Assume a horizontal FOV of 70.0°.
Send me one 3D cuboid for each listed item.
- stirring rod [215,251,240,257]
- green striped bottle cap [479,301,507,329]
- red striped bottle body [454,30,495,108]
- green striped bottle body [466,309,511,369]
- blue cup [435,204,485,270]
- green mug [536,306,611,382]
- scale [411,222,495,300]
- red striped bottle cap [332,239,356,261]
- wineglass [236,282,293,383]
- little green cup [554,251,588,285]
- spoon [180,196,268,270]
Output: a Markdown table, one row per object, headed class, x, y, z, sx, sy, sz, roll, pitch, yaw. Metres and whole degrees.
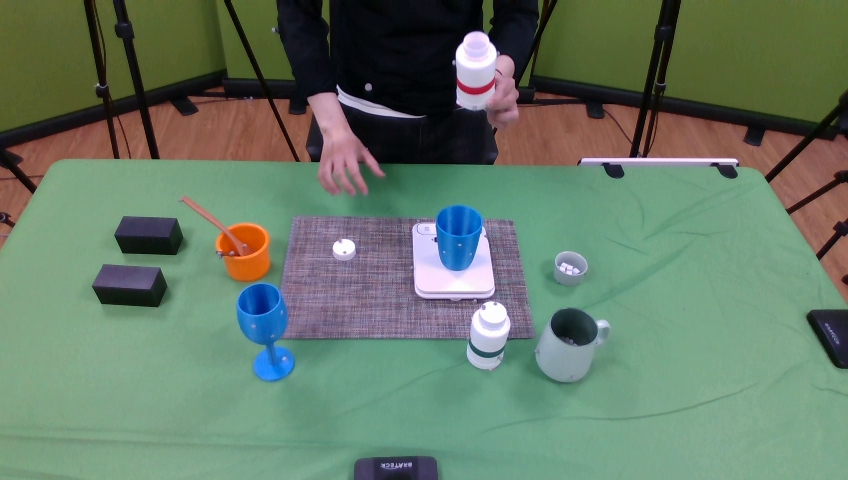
| class | x | y | z | sx | sy | sz | roll | pitch | yaw |
| --- | --- | --- | --- | --- | --- | --- | --- | --- | --- |
| stirring rod | -0.339 | 0.024 | 1.059 | 0.014 | 0.176 | 0.006 | 16 | 86 | -6 |
| green striped bottle cap | 0.109 | 0.118 | 0.950 | 0.044 | 0.020 | 0.044 | 2 | 47 | -2 |
| red striped bottle body | 0.080 | -0.269 | 0.949 | 0.063 | 0.120 | 0.062 | -2 | 61 | 3 |
| green striped bottle body | 0.106 | 0.154 | 0.988 | 0.063 | 0.120 | 0.063 | 2 | 46 | -2 |
| blue cup | 0.061 | 0.001 | 1.097 | 0.092 | 0.101 | 0.092 | 0 | 44 | 0 |
| green mug | 0.250 | 0.167 | 0.996 | 0.125 | 0.105 | 0.092 | -15 | 48 | -19 |
| scale | 0.052 | 0.031 | 1.158 | 0.149 | 0.032 | 0.199 | 1 | 46 | -4 |
| red striped bottle cap | -0.154 | 0.018 | 1.165 | 0.044 | 0.018 | 0.044 | -3 | 48 | 3 |
| wineglass | -0.243 | 0.143 | 0.934 | 0.074 | 0.173 | 0.073 | 2 | 46 | -2 |
| little green cup | 0.276 | 0.055 | 1.151 | 0.061 | 0.039 | 0.061 | 1 | 47 | -1 |
| spoon | -0.359 | -0.014 | 1.094 | 0.021 | 0.194 | 0.041 | -28 | 26 | 31 |
